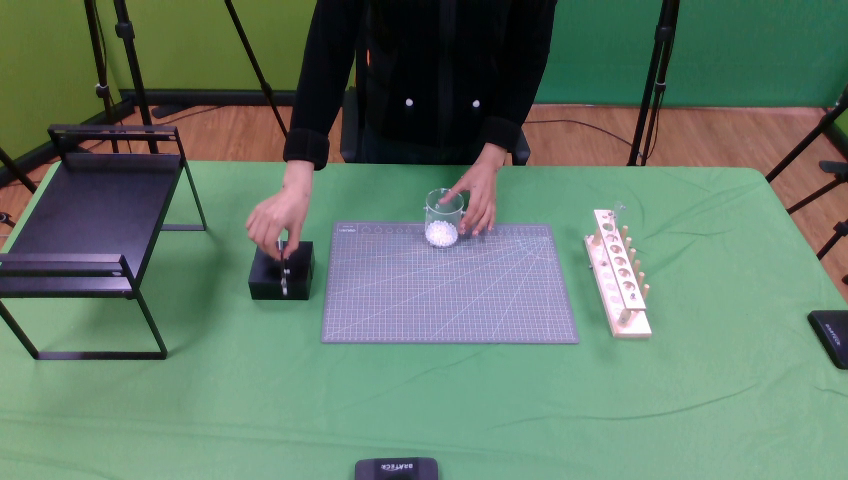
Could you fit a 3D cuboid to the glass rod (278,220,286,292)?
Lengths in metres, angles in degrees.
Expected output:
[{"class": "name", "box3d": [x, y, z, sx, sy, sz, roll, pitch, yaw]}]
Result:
[{"class": "glass rod", "box3d": [-0.252, 0.024, 1.074, 0.008, 0.008, 0.198, -7, 39, -11]}]

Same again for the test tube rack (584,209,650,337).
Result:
[{"class": "test tube rack", "box3d": [0.365, 0.056, 1.129, 0.067, 0.085, 0.240, 1, 46, -4]}]

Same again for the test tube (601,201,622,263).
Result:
[{"class": "test tube", "box3d": [0.346, -0.012, 1.123, 0.017, 0.151, 0.017, -2, 45, 2]}]

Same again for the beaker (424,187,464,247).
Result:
[{"class": "beaker", "box3d": [0.036, -0.043, 1.185, 0.074, 0.101, 0.083, -3, 46, -7]}]
